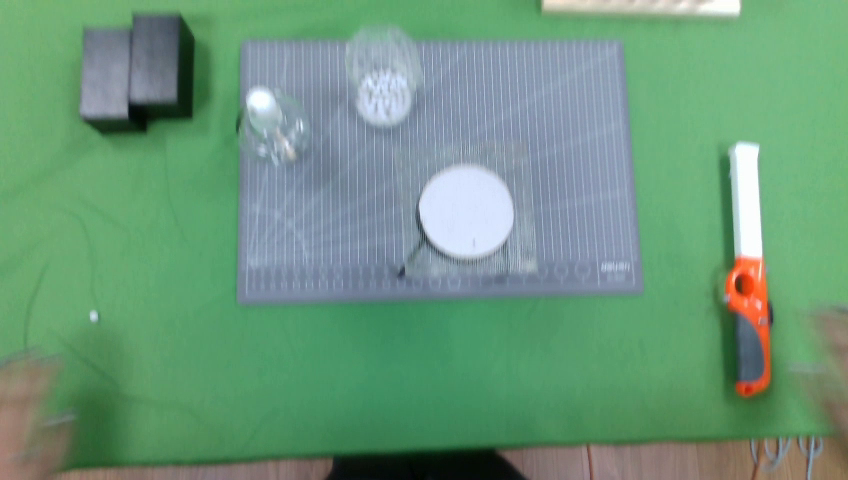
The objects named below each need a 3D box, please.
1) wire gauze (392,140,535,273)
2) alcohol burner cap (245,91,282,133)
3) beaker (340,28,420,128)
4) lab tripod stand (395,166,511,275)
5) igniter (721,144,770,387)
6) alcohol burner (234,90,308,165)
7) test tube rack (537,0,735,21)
[{"bbox_3d":[0.036,-0.032,0.552,0.125,0.011,0.121,-3,79,-4],"label":"wire gauze"},{"bbox_3d":[-0.160,-0.129,0.598,0.034,0.048,0.033,1,82,-6],"label":"alcohol burner cap"},{"bbox_3d":[-0.045,-0.169,0.656,0.084,0.100,0.074,23,80,1],"label":"beaker"},{"bbox_3d":[0.030,-0.016,0.617,0.148,0.132,0.147,0,79,-1],"label":"lab tripod stand"},{"bbox_3d":[0.363,0.026,0.687,0.057,0.025,0.275,5,80,-12],"label":"igniter"},{"bbox_3d":[-0.163,-0.123,0.634,0.078,0.119,0.077,1,78,-2],"label":"alcohol burner"},{"bbox_3d":[0.261,-0.312,0.710,0.242,0.085,0.066,0,80,-3],"label":"test tube rack"}]
